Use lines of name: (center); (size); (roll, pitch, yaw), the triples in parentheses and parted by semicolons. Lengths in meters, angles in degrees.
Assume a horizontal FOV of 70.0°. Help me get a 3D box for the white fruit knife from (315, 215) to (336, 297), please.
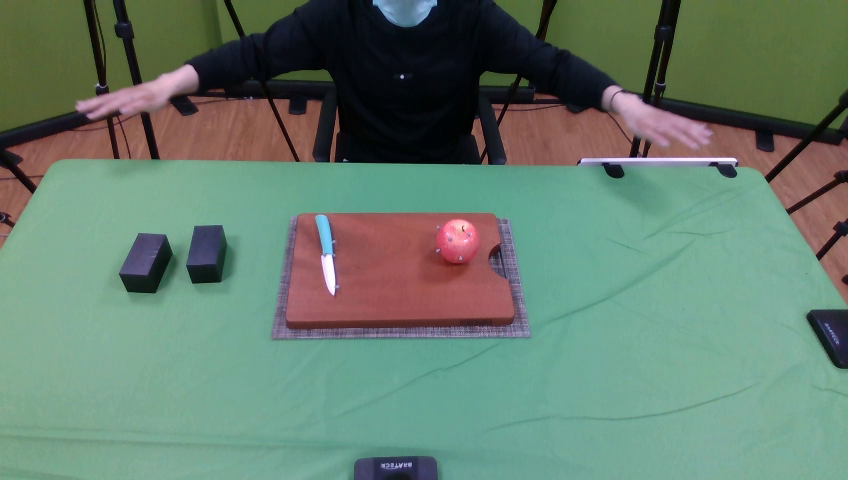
white fruit knife: (-0.180, 0.025, 1.124); (0.027, 0.016, 0.206); (-27, 48, 12)

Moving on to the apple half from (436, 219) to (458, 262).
apple half: (0.039, 0.005, 1.115); (0.033, 0.081, 0.080); (-2, 46, -11)

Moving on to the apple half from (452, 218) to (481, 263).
apple half: (0.077, 0.003, 1.122); (0.053, 0.075, 0.080); (-1, 42, -11)
